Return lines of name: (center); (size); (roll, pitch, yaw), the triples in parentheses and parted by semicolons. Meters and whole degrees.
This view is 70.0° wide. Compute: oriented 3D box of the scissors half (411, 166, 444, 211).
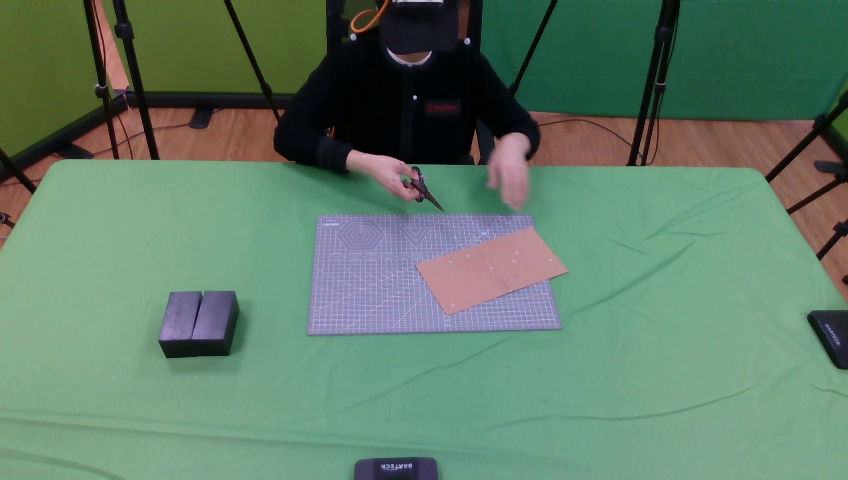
scissors half: (0.007, -0.099, 1.177); (0.013, 0.040, 0.174); (-6, 36, -21)

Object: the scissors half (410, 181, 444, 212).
scissors half: (0.006, -0.081, 1.187); (0.013, 0.040, 0.174); (-11, 21, -18)

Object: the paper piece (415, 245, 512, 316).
paper piece: (0.072, 0.071, 1.140); (0.138, 0.009, 0.135); (-18, 46, -18)

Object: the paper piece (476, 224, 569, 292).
paper piece: (0.192, 0.033, 1.185); (0.136, 0.004, 0.134); (-17, 51, -19)
